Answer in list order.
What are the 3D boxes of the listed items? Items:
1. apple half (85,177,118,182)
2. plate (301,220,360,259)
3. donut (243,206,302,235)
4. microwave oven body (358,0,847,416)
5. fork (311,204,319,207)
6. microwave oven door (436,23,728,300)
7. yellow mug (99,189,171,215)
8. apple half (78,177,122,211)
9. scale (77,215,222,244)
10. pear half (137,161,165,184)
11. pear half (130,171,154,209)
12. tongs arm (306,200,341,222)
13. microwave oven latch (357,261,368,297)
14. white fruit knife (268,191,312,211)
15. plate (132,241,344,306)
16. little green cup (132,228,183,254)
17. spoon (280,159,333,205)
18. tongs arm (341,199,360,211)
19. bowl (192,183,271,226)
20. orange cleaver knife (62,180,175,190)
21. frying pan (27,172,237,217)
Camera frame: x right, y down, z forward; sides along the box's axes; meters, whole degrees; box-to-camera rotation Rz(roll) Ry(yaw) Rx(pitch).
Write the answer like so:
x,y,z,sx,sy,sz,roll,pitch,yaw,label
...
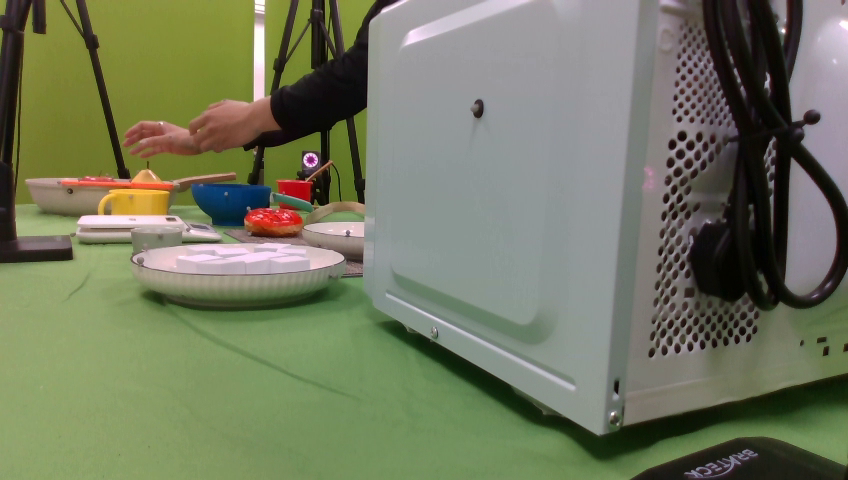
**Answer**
x,y,z,sx,sy,sz,roll,pitch,yaw,label
-0.672,-0.096,1.269,0.082,0.081,0.032,-4,4,-39,apple half
-0.077,-0.002,0.893,0.209,0.038,0.209,3,8,0,plate
-0.261,-0.032,1.043,0.099,0.048,0.099,4,9,0,donut
0.211,-0.047,0.475,0.444,0.260,0.324,-1,7,-28,microwave oven body
-0.356,-0.105,1.526,0.208,0.018,0.028,16,-5,-41,fork
0.180,-0.073,0.621,0.358,0.243,0.039,-2,9,-29,microwave oven door
-0.518,-0.055,1.080,0.099,0.064,0.131,7,9,26,yellow mug
-0.698,-0.099,1.298,0.081,0.074,0.053,-9,10,-40,apple half
-0.434,-0.019,0.963,0.202,0.031,0.148,-1,9,-27,scale
-0.604,-0.121,1.354,0.056,0.110,0.076,5,10,6,pear half
-0.640,-0.113,1.361,0.031,0.088,0.070,5,10,5,pear half
-0.234,-0.068,1.414,0.028,0.028,0.387,-5,8,1,tongs arm
-0.019,0.033,0.531,0.079,0.029,0.030,-1,7,-27,microwave oven latch
-0.364,-0.105,1.464,0.208,0.027,0.016,15,0,-34,white fruit knife
-0.187,0.033,0.625,0.208,0.039,0.207,2,7,0,plate
-0.342,0.006,0.779,0.061,0.038,0.061,2,8,0,little green cup
-0.316,-0.159,1.640,0.194,0.022,0.041,-49,32,-20,spoon
-0.148,-0.071,1.429,0.051,0.026,0.383,-4,9,-14,tongs arm
-0.382,-0.070,1.202,0.151,0.077,0.151,3,7,0,bowl
-0.600,-0.110,1.193,0.212,0.012,0.077,1,8,-13,orange cleaver knife
-0.624,-0.119,1.387,0.305,0.102,0.490,8,17,32,frying pan
